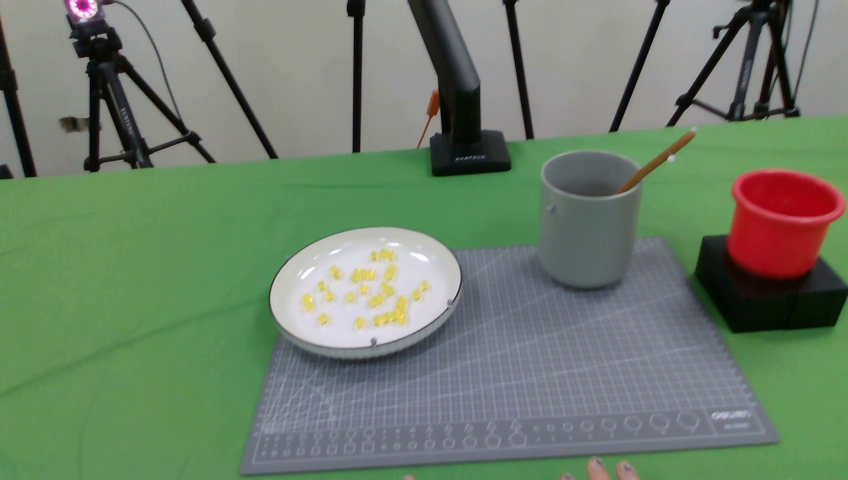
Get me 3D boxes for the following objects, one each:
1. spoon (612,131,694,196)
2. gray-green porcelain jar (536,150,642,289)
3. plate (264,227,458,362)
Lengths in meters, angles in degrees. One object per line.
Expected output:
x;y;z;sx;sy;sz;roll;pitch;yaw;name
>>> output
0.201;-0.044;0.619;0.041;0.194;0.021;-28;70;-43;spoon
0.176;-0.019;0.661;0.106;0.127;0.105;-4;36;3;gray-green porcelain jar
-0.066;0.060;0.659;0.207;0.039;0.205;-3;36;3;plate
